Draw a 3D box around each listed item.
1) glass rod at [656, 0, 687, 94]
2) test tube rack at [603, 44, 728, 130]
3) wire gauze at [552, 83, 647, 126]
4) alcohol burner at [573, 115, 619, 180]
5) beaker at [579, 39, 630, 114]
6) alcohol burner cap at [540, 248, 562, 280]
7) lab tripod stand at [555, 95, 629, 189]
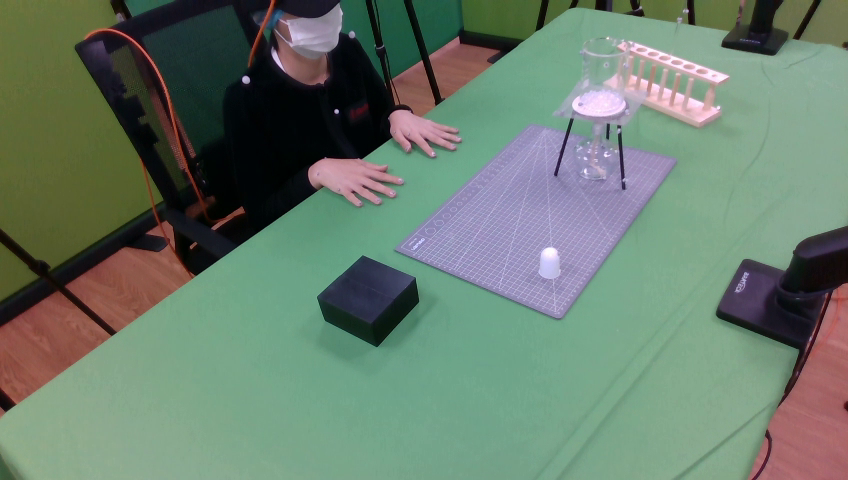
[{"bbox_3d":[0.491,-0.381,1.199,0.008,0.200,0.008,1,41,0],"label":"glass rod"},{"bbox_3d":[0.480,-0.316,1.227,0.067,0.085,0.240,-28,44,-22],"label":"test tube rack"},{"bbox_3d":[0.293,-0.224,1.004,0.120,0.011,0.125,19,43,26],"label":"wire gauze"},{"bbox_3d":[0.300,-0.164,1.048,0.078,0.119,0.077,-3,40,3],"label":"alcohol burner"},{"bbox_3d":[0.289,-0.263,0.975,0.073,0.101,0.084,17,45,27],"label":"beaker"},{"bbox_3d":[0.187,0.032,0.888,0.034,0.048,0.033,-4,40,4],"label":"alcohol burner cap"},{"bbox_3d":[0.300,-0.174,1.045,0.148,0.132,0.147,-5,38,5],"label":"lab tripod stand"}]
